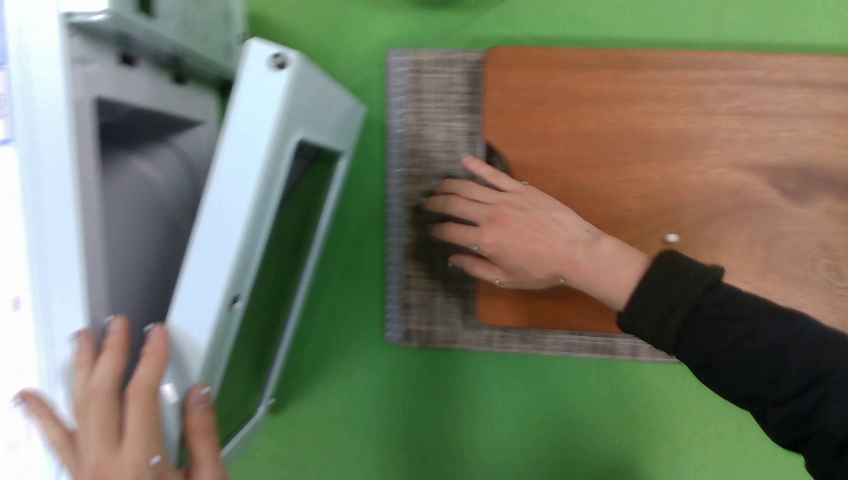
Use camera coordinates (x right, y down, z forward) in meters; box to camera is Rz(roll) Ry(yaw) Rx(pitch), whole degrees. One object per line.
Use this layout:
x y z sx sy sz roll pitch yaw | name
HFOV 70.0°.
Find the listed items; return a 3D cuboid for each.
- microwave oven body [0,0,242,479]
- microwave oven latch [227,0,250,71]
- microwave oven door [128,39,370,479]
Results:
-0.337 -0.019 0.506 0.326 0.260 0.442 0 97 3 | microwave oven body
-0.181 -0.202 0.572 0.030 0.029 0.079 1 97 3 | microwave oven latch
-0.135 0.036 0.495 0.039 0.243 0.356 20 97 3 | microwave oven door
